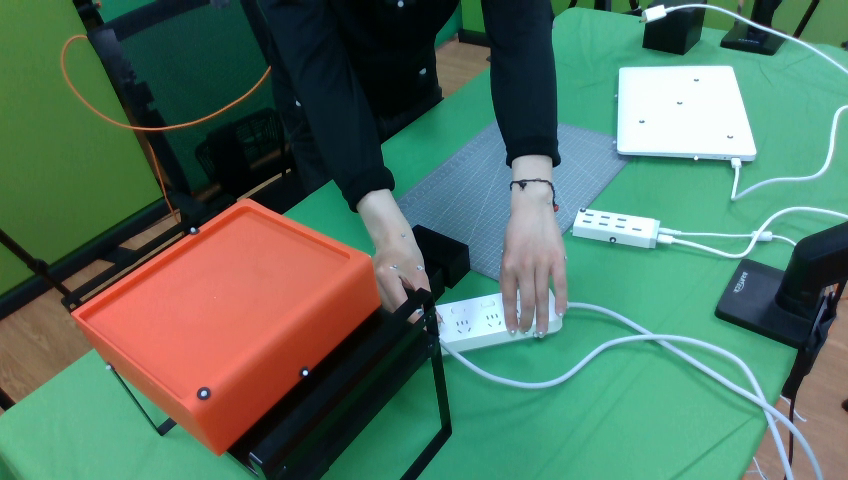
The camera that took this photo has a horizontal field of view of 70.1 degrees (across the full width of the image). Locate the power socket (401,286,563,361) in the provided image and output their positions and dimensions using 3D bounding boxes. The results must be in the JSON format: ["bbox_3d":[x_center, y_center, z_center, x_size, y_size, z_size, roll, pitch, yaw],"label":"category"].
[{"bbox_3d":[0.080,0.112,0.821,0.227,0.033,0.071,-10,41,-5],"label":"power socket"}]

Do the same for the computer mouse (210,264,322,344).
[{"bbox_3d":[-0.164,0.062,0.625,0.116,0.041,0.063,22,44,27],"label":"computer mouse"}]

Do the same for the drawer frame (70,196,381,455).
[{"bbox_3d":[-0.186,0.068,0.597,0.200,0.083,0.214,23,49,30],"label":"drawer frame"}]

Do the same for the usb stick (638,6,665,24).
[{"bbox_3d":[0.503,-0.499,1.347,0.059,0.027,0.021,-21,5,-2],"label":"usb stick"}]

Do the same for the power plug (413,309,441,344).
[{"bbox_3d":[0.006,0.119,0.768,0.035,0.053,0.072,-22,43,10],"label":"power plug"}]

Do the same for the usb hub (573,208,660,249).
[{"bbox_3d":[0.302,-0.019,0.949,0.124,0.025,0.049,11,42,20],"label":"usb hub"}]

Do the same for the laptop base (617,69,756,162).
[{"bbox_3d":[0.507,-0.256,1.204,0.235,0.023,0.353,3,41,15],"label":"laptop base"}]

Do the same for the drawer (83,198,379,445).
[{"bbox_3d":[-0.185,0.066,0.601,0.193,0.073,0.212,24,50,31],"label":"drawer"}]

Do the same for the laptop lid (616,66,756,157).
[{"bbox_3d":[0.503,-0.265,1.196,0.241,0.013,0.356,5,41,16],"label":"laptop lid"}]
